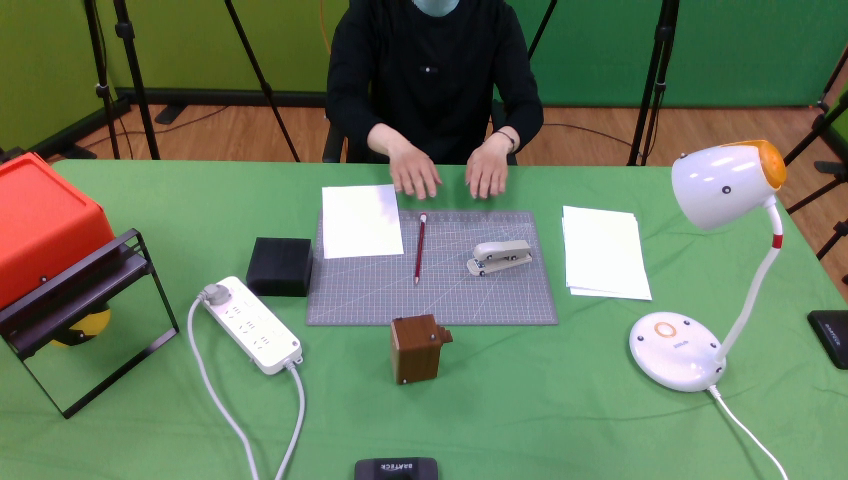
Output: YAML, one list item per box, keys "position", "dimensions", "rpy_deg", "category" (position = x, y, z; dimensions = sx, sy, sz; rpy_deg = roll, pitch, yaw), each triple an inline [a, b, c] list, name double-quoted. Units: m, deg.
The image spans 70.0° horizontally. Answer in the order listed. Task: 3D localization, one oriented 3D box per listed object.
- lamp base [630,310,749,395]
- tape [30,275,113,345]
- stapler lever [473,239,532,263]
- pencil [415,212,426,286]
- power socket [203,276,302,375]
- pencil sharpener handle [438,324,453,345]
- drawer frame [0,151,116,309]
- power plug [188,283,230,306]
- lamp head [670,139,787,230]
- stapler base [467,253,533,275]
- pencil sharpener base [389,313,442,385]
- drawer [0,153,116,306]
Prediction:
- position: [0.447, 0.142, 0.984]
  dimensions: [0.161, 0.181, 0.178]
  rpy_deg: [-24, 55, -24]
  category: "lamp base"
- position: [-0.594, 0.117, 1.021]
  dimensions: [0.117, 0.053, 0.116]
  rpy_deg: [2, 45, -2]
  category: "tape"
- position: [0.150, 0.017, 1.155]
  dimensions: [0.118, 0.040, 0.026]
  rpy_deg: [-13, 50, -17]
  category: "stapler lever"
- position: [-0.007, 0.014, 1.190]
  dimensions: [0.012, 0.012, 0.193]
  rpy_deg: [5, 48, 1]
  category: "pencil"
- position: [-0.297, 0.141, 1.034]
  dimensions: [0.072, 0.033, 0.225]
  rpy_deg: [-34, 58, -30]
  category: "power socket"
- position: [0.036, 0.155, 0.976]
  dimensions: [0.031, 0.068, 0.036]
  rpy_deg: [-8, 70, -11]
  category: "pencil sharpener handle"
- position: [-0.604, -0.013, 0.876]
  dimensions: [0.201, 0.083, 0.213]
  rpy_deg: [31, 52, 23]
  category: "drawer frame"
- position: [-0.368, 0.099, 1.037]
  dimensions: [0.072, 0.053, 0.035]
  rpy_deg: [-24, 52, -26]
  category: "power plug"
- position: [0.415, -0.079, 0.812]
  dimensions: [0.113, 0.123, 0.112]
  rpy_deg: [13, 70, -37]
  category: "lamp head"
- position: [0.148, 0.034, 1.171]
  dimensions: [0.131, 0.024, 0.041]
  rpy_deg: [-12, 50, -18]
  category: "stapler base"
- position: [-0.013, 0.175, 0.971]
  dimensions: [0.077, 0.107, 0.061]
  rpy_deg: [-8, 47, -11]
  category: "pencil sharpener base"
- position: [-0.601, -0.015, 0.880]
  dimensions: [0.193, 0.073, 0.211]
  rpy_deg: [32, 53, 23]
  category: "drawer"
